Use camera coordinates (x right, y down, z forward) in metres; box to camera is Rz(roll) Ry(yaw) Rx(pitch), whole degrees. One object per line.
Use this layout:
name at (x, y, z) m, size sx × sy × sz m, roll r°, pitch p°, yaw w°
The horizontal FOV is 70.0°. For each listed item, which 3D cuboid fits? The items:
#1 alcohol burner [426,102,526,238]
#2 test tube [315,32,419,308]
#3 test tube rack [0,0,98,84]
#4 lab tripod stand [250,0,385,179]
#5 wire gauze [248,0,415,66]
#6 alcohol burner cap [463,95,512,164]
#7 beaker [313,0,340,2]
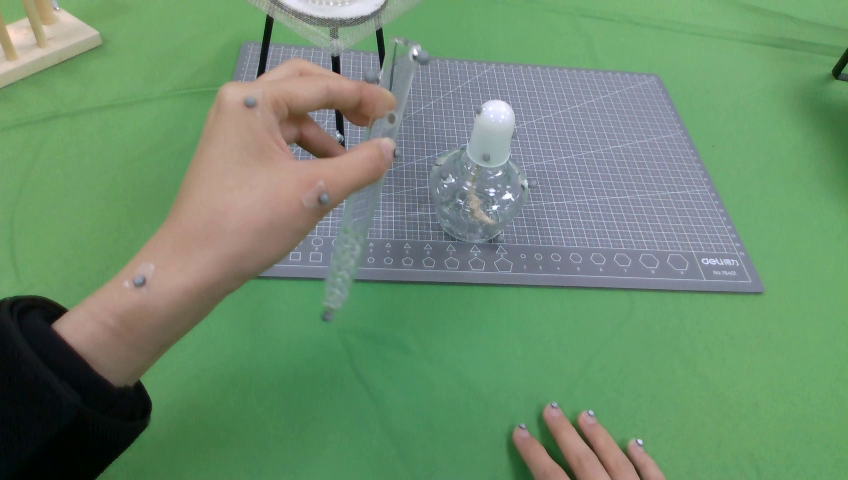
alcohol burner at (0.042, -0.057, 0.456) m, size 0.078 × 0.120 × 0.077 m, roll 6°, pitch 49°, yaw -6°
test tube at (-0.032, -0.029, 0.308) m, size 0.017 × 0.151 × 0.017 m, roll 16°, pitch 23°, yaw -7°
test tube rack at (-0.409, -0.168, 0.498) m, size 0.066 × 0.086 × 0.242 m, roll 33°, pitch 53°, yaw 18°
lab tripod stand at (-0.080, -0.146, 0.497) m, size 0.149 × 0.132 × 0.147 m, roll 6°, pitch 50°, yaw -7°
wire gauze at (-0.074, -0.187, 0.447) m, size 0.124 × 0.011 × 0.121 m, roll 35°, pitch 56°, yaw 15°
alcohol burner cap at (0.046, -0.080, 0.428) m, size 0.034 × 0.048 × 0.033 m, roll 3°, pitch 54°, yaw -3°
beaker at (-0.072, -0.224, 0.413) m, size 0.073 × 0.101 × 0.084 m, roll 41°, pitch 57°, yaw 22°
